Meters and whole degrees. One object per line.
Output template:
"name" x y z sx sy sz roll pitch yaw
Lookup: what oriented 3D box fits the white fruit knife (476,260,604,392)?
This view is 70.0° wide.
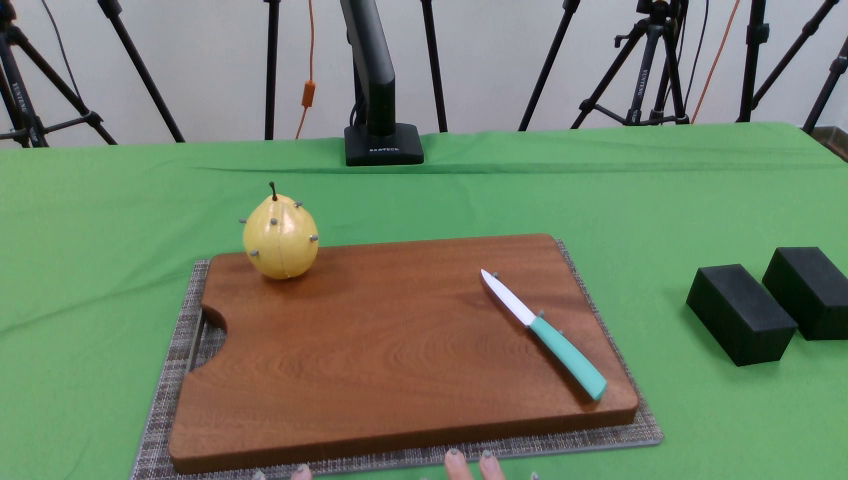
"white fruit knife" 0.109 0.075 0.601 0.027 0.016 0.205 -4 34 -31

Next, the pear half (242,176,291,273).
"pear half" -0.166 -0.020 0.639 0.056 0.111 0.075 2 33 1

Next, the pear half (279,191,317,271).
"pear half" -0.130 -0.010 0.643 0.031 0.088 0.070 1 30 0
